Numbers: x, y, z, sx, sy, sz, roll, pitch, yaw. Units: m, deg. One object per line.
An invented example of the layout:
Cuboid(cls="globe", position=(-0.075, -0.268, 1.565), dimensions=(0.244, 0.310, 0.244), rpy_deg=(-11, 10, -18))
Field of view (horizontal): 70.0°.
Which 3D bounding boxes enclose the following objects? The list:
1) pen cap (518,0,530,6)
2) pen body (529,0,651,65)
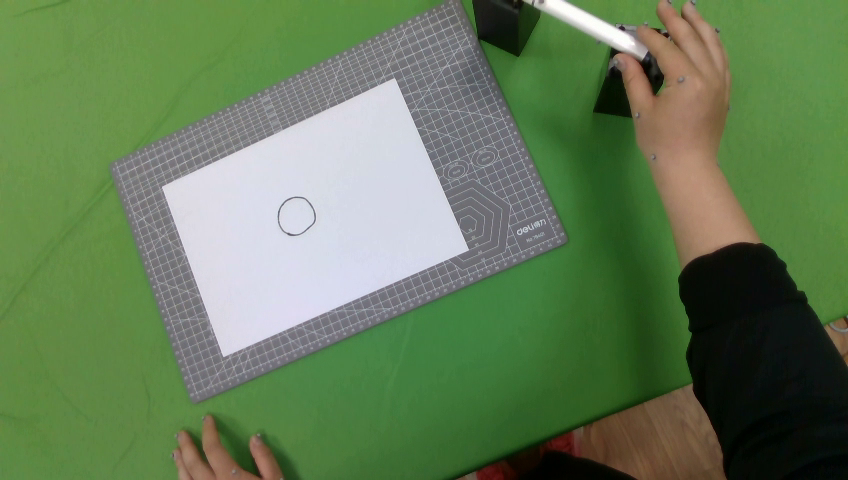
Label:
Cuboid(cls="pen cap", position=(0.083, -0.230, 0.554), dimensions=(0.038, 0.017, 0.017), rpy_deg=(30, 90, 12))
Cuboid(cls="pen body", position=(0.137, -0.197, 0.545), dimensions=(0.143, 0.017, 0.017), rpy_deg=(32, 90, 8))
